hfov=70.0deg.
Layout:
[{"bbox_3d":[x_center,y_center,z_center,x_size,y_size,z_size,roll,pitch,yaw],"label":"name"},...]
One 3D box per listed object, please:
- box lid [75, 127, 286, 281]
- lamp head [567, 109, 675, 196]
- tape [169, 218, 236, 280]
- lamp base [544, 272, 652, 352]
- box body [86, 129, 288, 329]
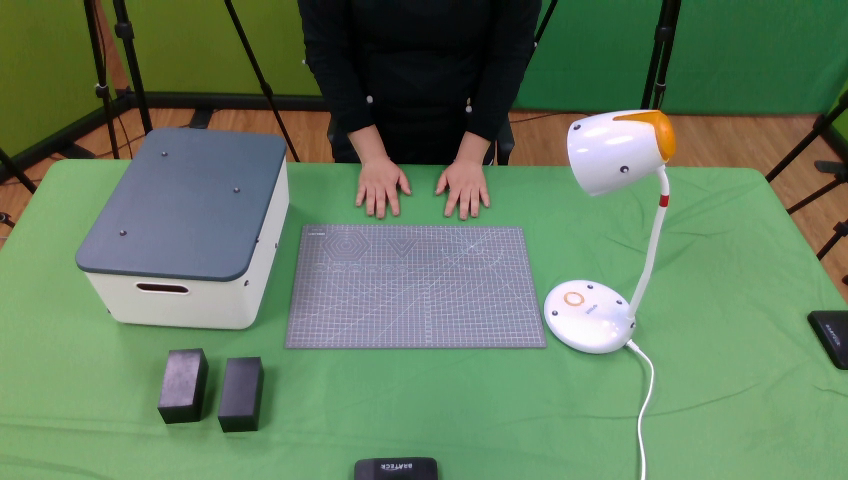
[{"bbox_3d":[-0.398,-0.075,1.039,0.263,0.015,0.369,4,45,-1],"label":"box lid"},{"bbox_3d":[0.272,-0.123,0.818,0.122,0.113,0.112,-9,35,37],"label":"lamp head"},{"bbox_3d":[-0.409,0.015,1.122,0.117,0.053,0.116,2,46,-2],"label":"tape"},{"bbox_3d":[0.310,0.086,1.029,0.178,0.181,0.160,32,52,21],"label":"lamp base"},{"bbox_3d":[-0.401,-0.025,1.094,0.254,0.161,0.362,3,46,-1],"label":"box body"}]
